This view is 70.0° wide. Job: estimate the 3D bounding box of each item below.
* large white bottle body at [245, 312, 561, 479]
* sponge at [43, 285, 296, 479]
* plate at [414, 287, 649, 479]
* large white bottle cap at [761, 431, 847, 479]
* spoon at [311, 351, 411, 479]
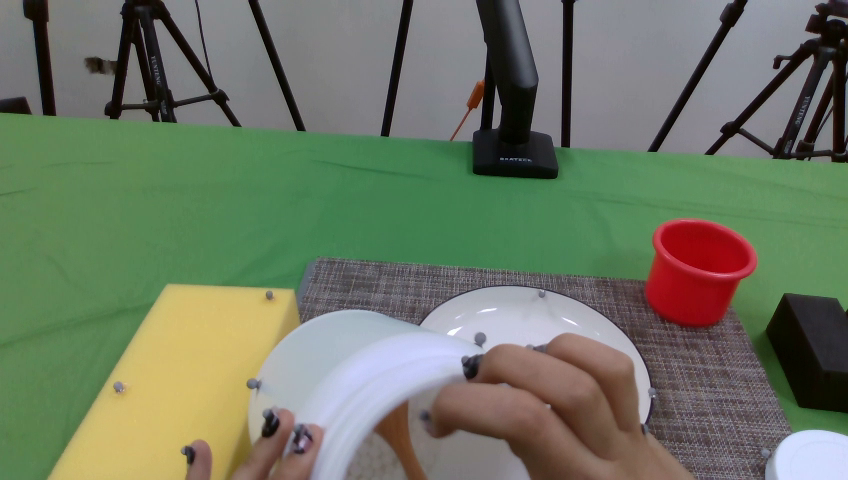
[{"bbox_3d":[-0.022,0.110,0.328,0.131,0.130,0.184,-14,4,-22],"label":"large white bottle body"},{"bbox_3d":[-0.184,0.125,0.483,0.118,0.061,0.205,2,36,2],"label":"sponge"},{"bbox_3d":[0.084,0.121,0.525,0.209,0.038,0.207,2,36,-1],"label":"plate"},{"bbox_3d":[0.318,0.197,0.458,0.115,0.018,0.113,4,37,-3],"label":"large white bottle cap"},{"bbox_3d":[-0.016,0.104,0.289,0.042,0.022,0.191,-17,30,-18],"label":"spoon"}]
